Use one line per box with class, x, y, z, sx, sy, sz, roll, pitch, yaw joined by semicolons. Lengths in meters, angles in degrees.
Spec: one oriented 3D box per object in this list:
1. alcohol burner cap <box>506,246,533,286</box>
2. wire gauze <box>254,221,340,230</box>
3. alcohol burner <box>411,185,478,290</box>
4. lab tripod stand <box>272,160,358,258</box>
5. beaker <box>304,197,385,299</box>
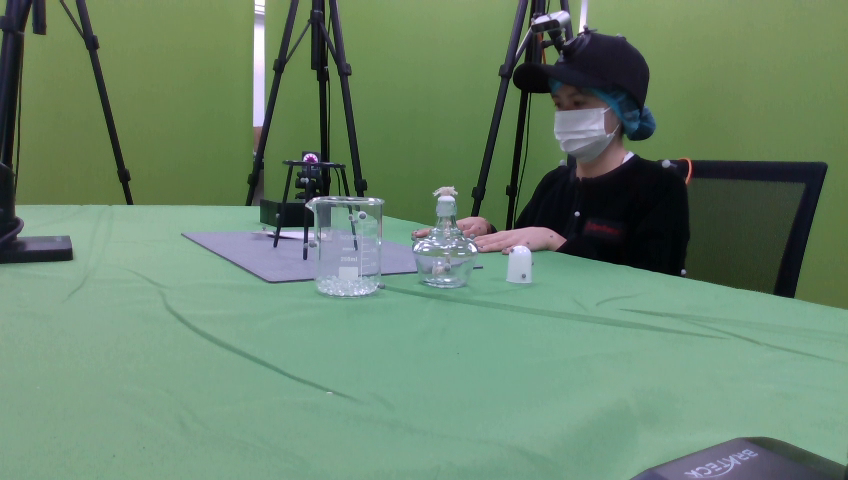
alcohol burner cap;0.118;0.032;0.739;0.034;0.048;0.034;1;7;0
wire gauze;-0.224;-0.026;1.057;0.122;0.011;0.124;-3;3;-26
alcohol burner;0.024;-0.004;0.697;0.078;0.119;0.078;0;7;0
lab tripod stand;-0.159;-0.048;0.876;0.148;0.131;0.148;3;5;0
beaker;-0.083;0.007;0.629;0.084;0.100;0.073;-1;7;-21
